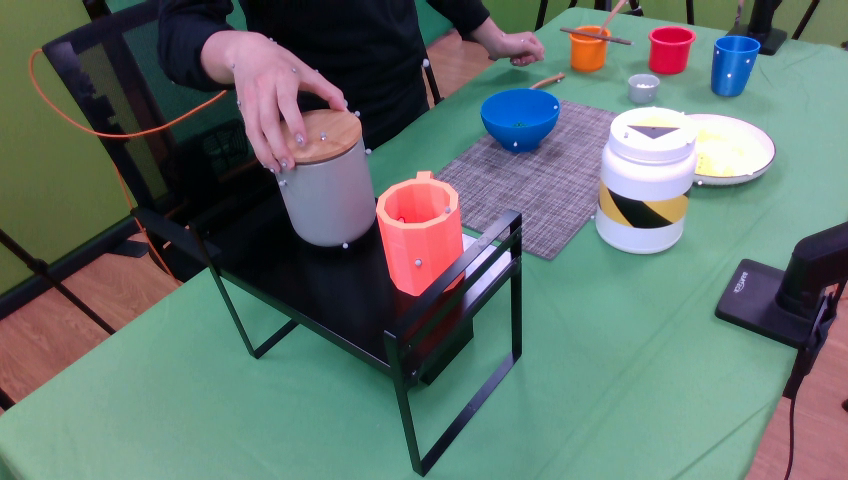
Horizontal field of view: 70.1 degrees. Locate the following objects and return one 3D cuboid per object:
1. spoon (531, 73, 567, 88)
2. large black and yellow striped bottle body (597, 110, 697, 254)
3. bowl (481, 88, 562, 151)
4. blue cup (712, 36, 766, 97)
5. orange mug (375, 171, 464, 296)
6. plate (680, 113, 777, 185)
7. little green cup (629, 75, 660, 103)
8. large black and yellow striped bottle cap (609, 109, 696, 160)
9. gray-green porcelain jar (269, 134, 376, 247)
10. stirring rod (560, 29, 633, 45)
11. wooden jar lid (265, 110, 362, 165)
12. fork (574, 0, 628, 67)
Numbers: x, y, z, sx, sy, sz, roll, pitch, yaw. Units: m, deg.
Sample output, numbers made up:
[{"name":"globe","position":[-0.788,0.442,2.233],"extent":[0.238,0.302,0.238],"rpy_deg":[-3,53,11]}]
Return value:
[{"name":"spoon","position":[0.249,-0.336,1.332],"extent":[0.194,0.022,0.041],"rpy_deg":[-32,32,-25]},{"name":"large black and yellow striped bottle body","position":[0.331,-0.086,0.904],"extent":[0.131,0.185,0.130],"rpy_deg":[-5,41,4]},{"name":"bowl","position":[0.187,-0.223,1.162],"extent":[0.151,0.077,0.150],"rpy_deg":[-4,40,4]},{"name":"blue cup","position":[0.627,-0.350,1.227],"extent":[0.092,0.100,0.092],"rpy_deg":[-4,39,4]},{"name":"orange mug","position":[-0.001,-0.016,0.662],"extent":[0.083,0.101,0.125],"rpy_deg":[-2,45,8]},{"name":"plate","position":[0.506,-0.158,1.073],"extent":[0.209,0.038,0.208],"rpy_deg":[-5,40,4]},{"name":"little green cup","position":[0.457,-0.314,1.260],"extent":[0.061,0.039,0.061],"rpy_deg":[-4,40,4]},{"name":"large black and yellow striped bottle cap","position":[0.319,-0.150,0.849],"extent":[0.115,0.019,0.114],"rpy_deg":[-4,39,3]},{"name":"gray-green porcelain jar","position":[-0.115,-0.064,0.715],"extent":[0.106,0.127,0.105],"rpy_deg":[-4,40,4]},{"name":"stirring rod","position":[0.381,-0.452,1.345],"extent":[0.174,0.006,0.014],"rpy_deg":[25,50,33]},{"name":"wooden jar lid","position":[-0.122,-0.112,0.673],"extent":[0.108,0.021,0.108],"rpy_deg":[-4,37,4]},{"name":"fork","position":[0.413,-0.481,1.377],"extent":[0.207,0.019,0.028],"rpy_deg":[-56,43,12]}]
